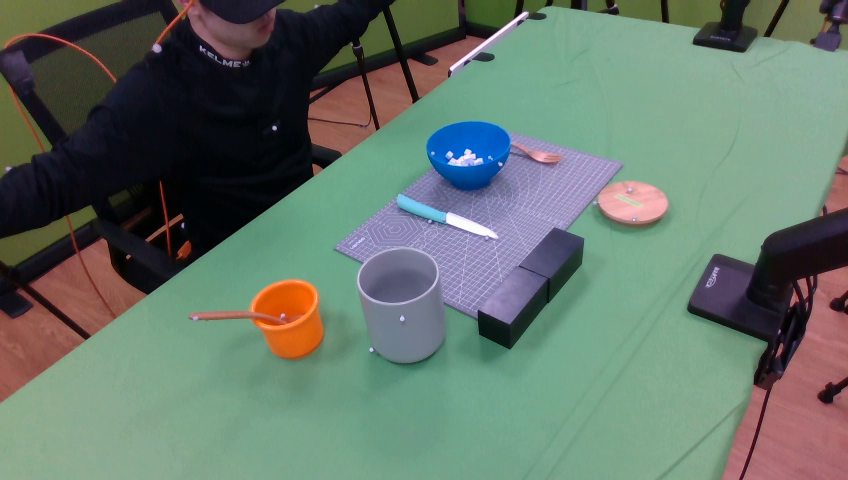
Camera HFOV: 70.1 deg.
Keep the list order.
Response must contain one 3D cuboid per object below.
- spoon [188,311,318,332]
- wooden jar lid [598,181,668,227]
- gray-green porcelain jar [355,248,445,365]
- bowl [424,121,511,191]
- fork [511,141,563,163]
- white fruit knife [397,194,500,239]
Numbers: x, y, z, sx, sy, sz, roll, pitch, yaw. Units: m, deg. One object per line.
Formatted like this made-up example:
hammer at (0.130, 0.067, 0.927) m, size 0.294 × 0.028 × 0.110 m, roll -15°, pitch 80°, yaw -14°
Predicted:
spoon at (-0.216, 0.102, 0.783) m, size 0.041 × 0.195 × 0.021 m, roll 26°, pitch 95°, yaw 39°
wooden jar lid at (0.340, -0.058, 0.988) m, size 0.108 × 0.021 × 0.108 m, roll -5°, pitch 41°, yaw 5°
gray-green porcelain jar at (-0.027, 0.091, 0.786) m, size 0.106 × 0.127 × 0.105 m, roll -4°, pitch 40°, yaw 4°
bowl at (0.080, -0.141, 1.074) m, size 0.151 × 0.077 × 0.150 m, roll -4°, pitch 40°, yaw 4°
fork at (0.168, -0.178, 1.150) m, size 0.206 × 0.019 × 0.028 m, roll 23°, pitch 57°, yaw 28°
white fruit knife at (0.036, -0.037, 1.007) m, size 0.206 × 0.016 × 0.027 m, roll 21°, pitch 62°, yaw 28°
